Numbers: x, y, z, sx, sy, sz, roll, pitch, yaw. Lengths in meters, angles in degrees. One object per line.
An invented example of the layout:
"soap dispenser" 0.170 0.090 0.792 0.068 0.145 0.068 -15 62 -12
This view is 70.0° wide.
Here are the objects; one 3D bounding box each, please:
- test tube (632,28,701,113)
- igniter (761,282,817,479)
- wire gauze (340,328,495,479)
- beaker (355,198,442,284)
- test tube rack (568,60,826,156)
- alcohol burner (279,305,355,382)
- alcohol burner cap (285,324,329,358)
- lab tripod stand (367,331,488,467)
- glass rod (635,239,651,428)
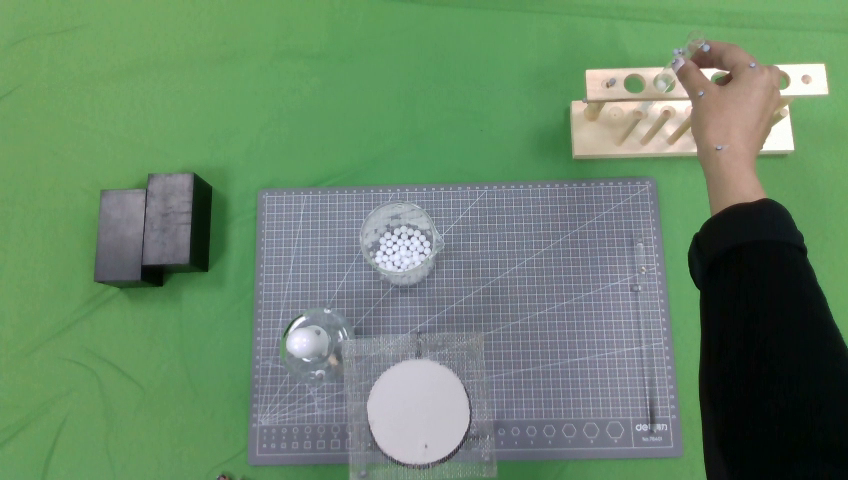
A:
"test tube" 0.240 -0.166 0.611 0.017 0.151 0.017 0 77 1
"igniter" 0.371 0.180 0.618 0.057 0.025 0.275 8 79 -7
"wire gauze" -0.007 0.138 0.513 0.125 0.011 0.121 -5 77 1
"beaker" -0.023 0.006 0.626 0.084 0.100 0.073 7 79 3
"test tube rack" 0.286 -0.140 0.654 0.242 0.085 0.066 -1 78 2
"alcohol burner" -0.110 0.101 0.602 0.078 0.119 0.077 0 76 2
"alcohol burner cap" -0.111 0.095 0.567 0.034 0.048 0.034 -1 82 8
"lab tripod stand" -0.003 0.156 0.578 0.148 0.132 0.147 -1 77 4
"glass rod" 0.233 0.097 0.645 0.008 0.008 0.199 0 81 2
